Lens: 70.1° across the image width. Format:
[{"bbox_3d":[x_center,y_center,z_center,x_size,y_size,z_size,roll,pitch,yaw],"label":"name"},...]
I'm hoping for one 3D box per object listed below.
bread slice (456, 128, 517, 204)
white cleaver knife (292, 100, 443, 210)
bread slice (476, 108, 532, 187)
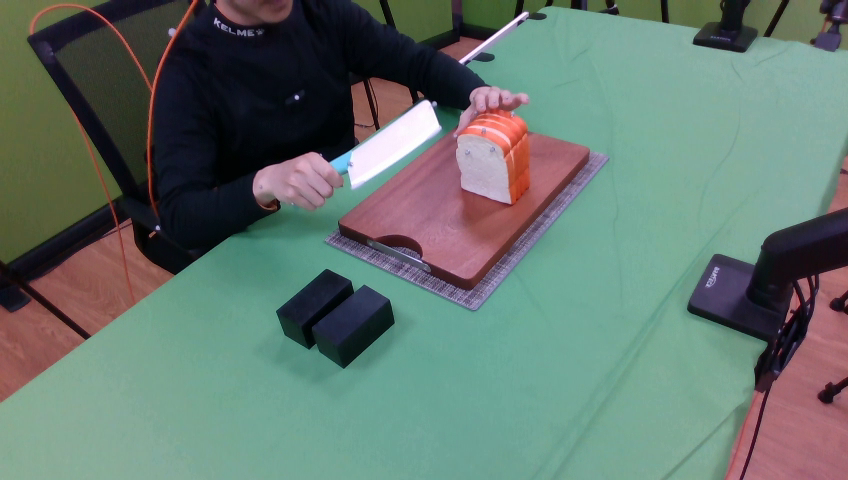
[{"bbox_3d":[0.096,-0.120,0.969,0.104,0.132,0.019,20,53,29],"label":"bread slice"},{"bbox_3d":[-0.091,-0.107,0.859,0.285,0.022,0.065,-28,61,31],"label":"white cleaver knife"},{"bbox_3d":[0.131,-0.152,0.999,0.106,0.135,0.018,23,50,28],"label":"bread slice"}]
